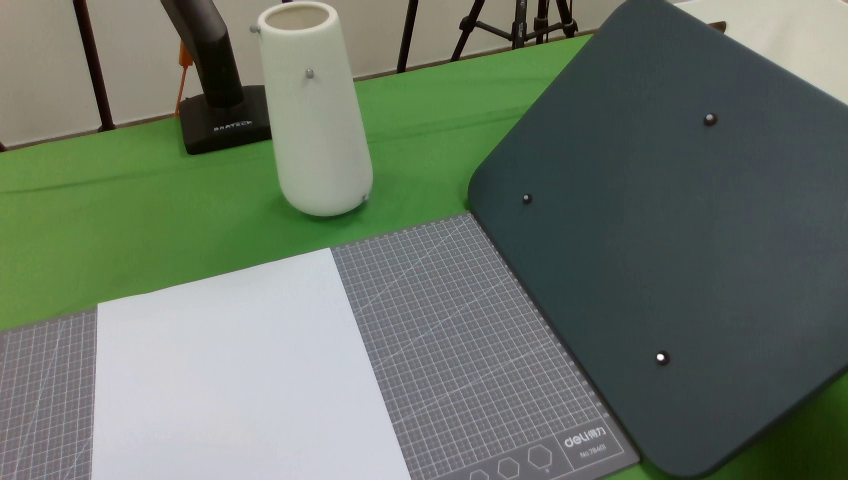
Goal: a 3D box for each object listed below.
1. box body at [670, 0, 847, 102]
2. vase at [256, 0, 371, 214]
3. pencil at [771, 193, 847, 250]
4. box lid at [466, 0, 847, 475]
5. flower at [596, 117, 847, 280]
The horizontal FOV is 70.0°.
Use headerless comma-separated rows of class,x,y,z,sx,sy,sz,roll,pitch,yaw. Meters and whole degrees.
box body,0.353,-0.085,0.563,0.254,0.162,0.359,-15,45,-13
vase,-0.108,-0.123,0.591,0.098,0.202,0.097,-2,42,2
pencil,0.371,0.001,0.538,0.012,0.012,0.192,-6,29,-4
box lid,0.187,-0.034,0.490,0.015,0.263,0.367,24,25,-41
flower,0.321,-0.026,0.603,0.358,0.038,0.044,41,21,30
